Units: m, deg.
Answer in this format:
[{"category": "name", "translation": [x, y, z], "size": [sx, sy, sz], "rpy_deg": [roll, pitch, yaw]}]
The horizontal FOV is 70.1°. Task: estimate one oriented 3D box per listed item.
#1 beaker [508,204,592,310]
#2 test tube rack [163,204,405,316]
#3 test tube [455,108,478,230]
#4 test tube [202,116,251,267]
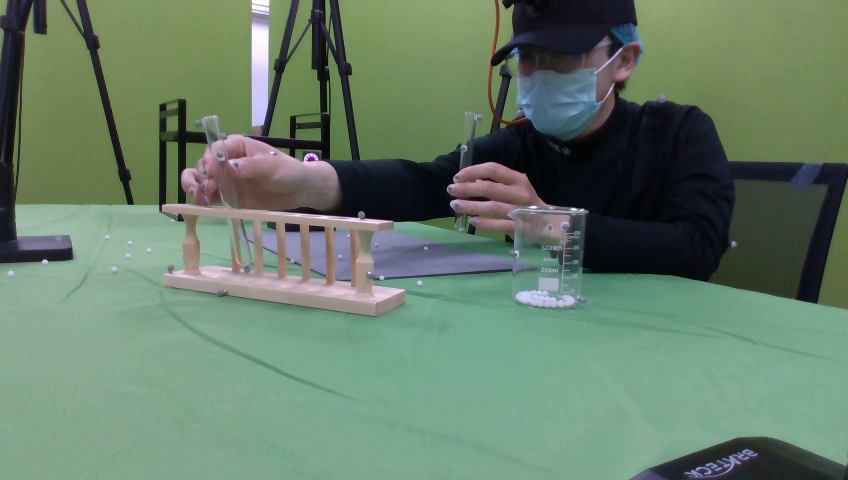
[{"category": "beaker", "translation": [0.125, 0.016, 0.613], "size": [0.084, 0.100, 0.074], "rpy_deg": [1, 7, -5]}, {"category": "test tube rack", "translation": [-0.141, 0.013, 0.601], "size": [0.241, 0.085, 0.067], "rpy_deg": [5, 8, 21]}, {"category": "test tube", "translation": [0.052, -0.086, 0.744], "size": [0.017, 0.150, 0.017], "rpy_deg": [5, 9, 0]}, {"category": "test tube", "translation": [-0.192, -0.046, 0.593], "size": [0.017, 0.150, 0.017], "rpy_deg": [-11, 8, 2]}]
